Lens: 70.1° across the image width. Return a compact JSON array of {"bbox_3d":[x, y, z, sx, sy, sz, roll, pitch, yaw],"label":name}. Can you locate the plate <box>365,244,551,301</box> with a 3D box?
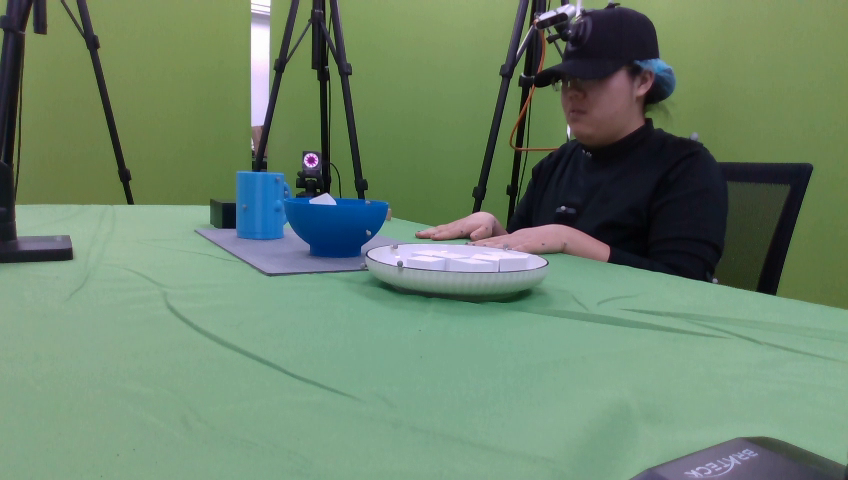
[{"bbox_3d":[0.038,0.035,0.685,0.209,0.038,0.209,2,7,0],"label":"plate"}]

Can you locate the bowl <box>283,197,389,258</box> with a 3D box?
[{"bbox_3d":[-0.127,-0.018,0.868,0.151,0.077,0.151,3,7,0],"label":"bowl"}]

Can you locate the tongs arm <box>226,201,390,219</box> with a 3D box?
[{"bbox_3d":[-0.275,-0.072,1.446,0.388,0.027,0.028,2,0,-4],"label":"tongs arm"}]

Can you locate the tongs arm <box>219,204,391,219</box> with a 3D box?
[{"bbox_3d":[-0.258,-0.064,1.367,0.386,0.026,0.050,1,4,-17],"label":"tongs arm"}]

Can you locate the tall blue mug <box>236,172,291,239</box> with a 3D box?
[{"bbox_3d":[-0.273,-0.061,1.026,0.078,0.108,0.107,1,7,-1],"label":"tall blue mug"}]
